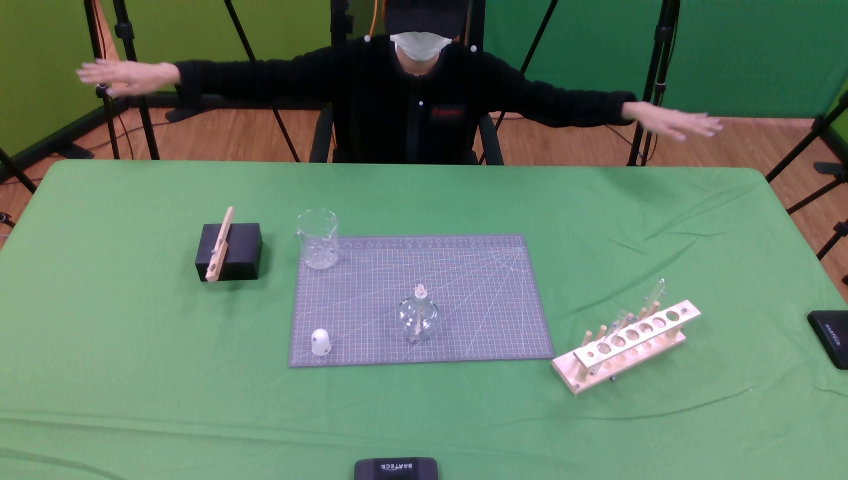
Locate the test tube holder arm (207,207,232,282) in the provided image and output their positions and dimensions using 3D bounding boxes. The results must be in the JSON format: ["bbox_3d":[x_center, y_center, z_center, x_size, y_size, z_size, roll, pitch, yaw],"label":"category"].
[{"bbox_3d":[-0.370,0.004,1.100,0.013,0.015,0.177,-5,46,0],"label":"test tube holder arm"}]

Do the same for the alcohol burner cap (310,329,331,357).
[{"bbox_3d":[-0.173,0.168,1.004,0.034,0.048,0.033,2,46,-2],"label":"alcohol burner cap"}]

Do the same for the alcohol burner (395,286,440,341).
[{"bbox_3d":[-0.010,0.116,1.018,0.078,0.119,0.077,3,47,-3],"label":"alcohol burner"}]

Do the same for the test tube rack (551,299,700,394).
[{"bbox_3d":[0.339,0.166,1.021,0.242,0.085,0.066,-19,50,-21],"label":"test tube rack"}]

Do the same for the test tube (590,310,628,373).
[{"bbox_3d":[0.288,0.162,0.951,0.017,0.151,0.017,4,44,-4],"label":"test tube"}]

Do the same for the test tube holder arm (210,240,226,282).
[{"bbox_3d":[-0.362,0.036,1.069,0.010,0.015,0.087,-4,46,1],"label":"test tube holder arm"}]

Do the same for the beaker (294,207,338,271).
[{"bbox_3d":[-0.196,0.003,1.123,0.074,0.101,0.083,-23,52,-24],"label":"beaker"}]

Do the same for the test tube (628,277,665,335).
[{"bbox_3d":[0.371,0.112,1.014,0.017,0.151,0.017,3,47,-3],"label":"test tube"}]
